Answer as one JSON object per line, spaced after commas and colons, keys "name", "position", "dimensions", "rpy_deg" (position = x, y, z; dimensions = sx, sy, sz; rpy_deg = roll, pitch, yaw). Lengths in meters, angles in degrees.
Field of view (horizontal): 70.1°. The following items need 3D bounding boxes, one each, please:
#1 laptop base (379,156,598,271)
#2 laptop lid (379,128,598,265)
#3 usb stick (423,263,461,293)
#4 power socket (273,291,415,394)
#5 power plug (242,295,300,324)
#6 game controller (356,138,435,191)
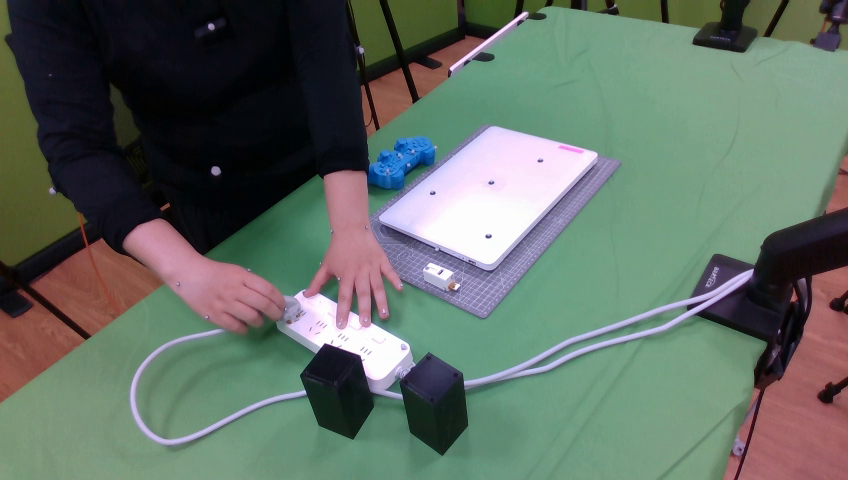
{"name": "laptop base", "position": [0.120, -0.085, 1.054], "dimensions": [0.233, 0.023, 0.355], "rpy_deg": [21, 48, 34]}
{"name": "laptop lid", "position": [0.117, -0.095, 1.048], "dimensions": [0.239, 0.013, 0.358], "rpy_deg": [23, 49, 34]}
{"name": "usb stick", "position": [0.028, 0.058, 0.889], "dimensions": [0.059, 0.027, 0.021], "rpy_deg": [25, 47, 29]}
{"name": "power socket", "position": [-0.115, 0.133, 0.820], "dimensions": [0.225, 0.033, 0.072], "rpy_deg": [24, 47, 31]}
{"name": "power plug", "position": [-0.203, 0.099, 0.819], "dimensions": [0.072, 0.053, 0.035], "rpy_deg": [-21, 44, -3]}
{"name": "game controller", "position": [-0.049, -0.150, 1.136], "dimensions": [0.096, 0.052, 0.155], "rpy_deg": [27, 51, 28]}
